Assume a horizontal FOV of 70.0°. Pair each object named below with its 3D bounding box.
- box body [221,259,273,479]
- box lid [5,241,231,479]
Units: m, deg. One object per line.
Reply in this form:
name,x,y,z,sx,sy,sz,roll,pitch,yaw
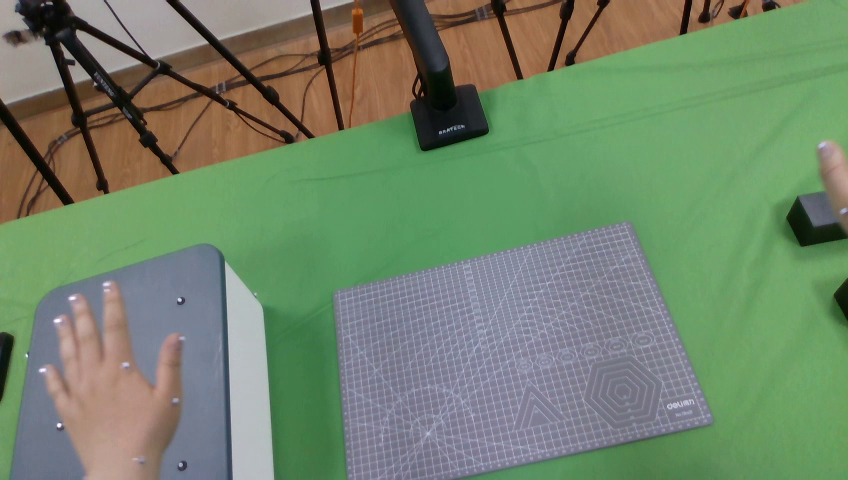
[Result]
box body,-0.342,0.220,0.770,0.254,0.162,0.360,-16,58,2
box lid,-0.356,0.180,0.708,0.263,0.015,0.367,-16,58,3
